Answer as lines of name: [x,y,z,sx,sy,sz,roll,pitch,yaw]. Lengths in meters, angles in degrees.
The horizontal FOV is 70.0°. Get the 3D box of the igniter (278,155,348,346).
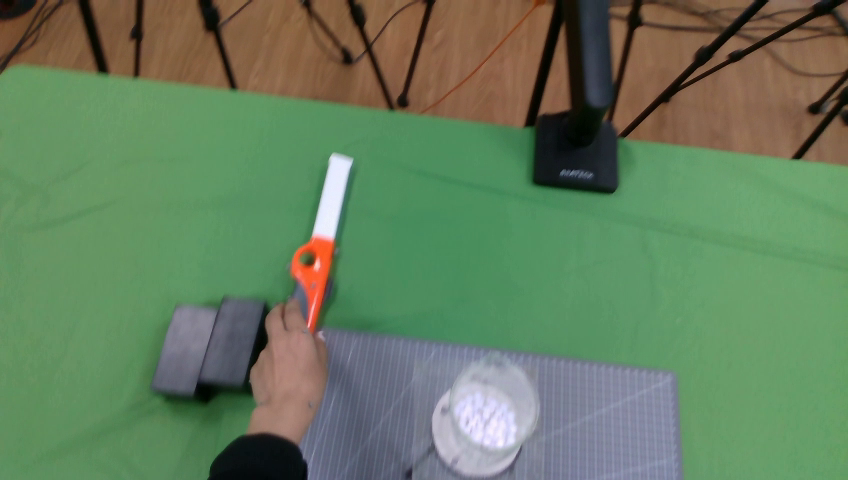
igniter: [-0.140,0.009,0.790,0.057,0.025,0.274,15,62,-12]

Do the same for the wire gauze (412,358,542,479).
wire gauze: [0.049,0.172,0.580,0.125,0.011,0.120,2,61,0]

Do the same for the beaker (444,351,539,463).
beaker: [0.055,0.152,0.536,0.074,0.101,0.083,4,61,0]

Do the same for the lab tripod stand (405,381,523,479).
lab tripod stand: [0.048,0.205,0.638,0.148,0.132,0.147,1,62,-1]
